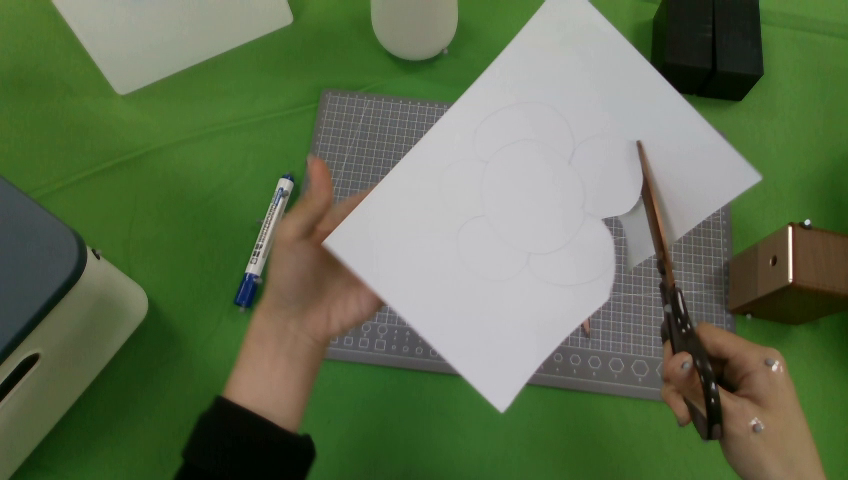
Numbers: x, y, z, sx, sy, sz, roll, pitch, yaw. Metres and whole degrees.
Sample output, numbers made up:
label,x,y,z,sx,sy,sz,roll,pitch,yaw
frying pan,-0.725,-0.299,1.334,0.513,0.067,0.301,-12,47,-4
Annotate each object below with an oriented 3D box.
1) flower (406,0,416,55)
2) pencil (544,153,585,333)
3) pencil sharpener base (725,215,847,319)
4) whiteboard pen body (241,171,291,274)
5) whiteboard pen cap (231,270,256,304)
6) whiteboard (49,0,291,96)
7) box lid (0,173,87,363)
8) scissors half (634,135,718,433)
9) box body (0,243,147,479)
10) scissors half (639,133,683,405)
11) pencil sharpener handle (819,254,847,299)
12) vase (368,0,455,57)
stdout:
label,x,y,z,sx,sy,sz,roll,pitch,yaw
flower,-0.022,-0.322,0.544,0.044,0.365,0.038,0,53,3
pencil,0.145,0.000,0.620,0.012,0.012,0.193,-7,73,-2
pencil sharpener base,0.340,0.029,0.560,0.077,0.107,0.061,11,70,0
whiteboard pen body,-0.163,-0.008,0.617,0.017,0.017,0.140,13,69,5
whiteboard pen cap,-0.176,0.046,0.596,0.018,0.018,0.033,12,66,5
whiteboard,-0.304,-0.346,0.615,0.217,0.308,0.142,-27,53,-9
box lid,-0.470,0.009,0.455,0.370,0.015,0.262,32,73,10
scissors half,0.141,0.025,0.344,0.013,0.040,0.175,-13,88,5
box body,-0.468,0.035,0.525,0.363,0.161,0.253,32,74,10
scissors half,0.144,0.021,0.365,0.013,0.040,0.176,-12,110,10
pencil sharpener handle,0.391,0.036,0.548,0.030,0.068,0.035,11,65,0
vase,-0.016,-0.281,0.618,0.098,0.201,0.097,0,69,1
